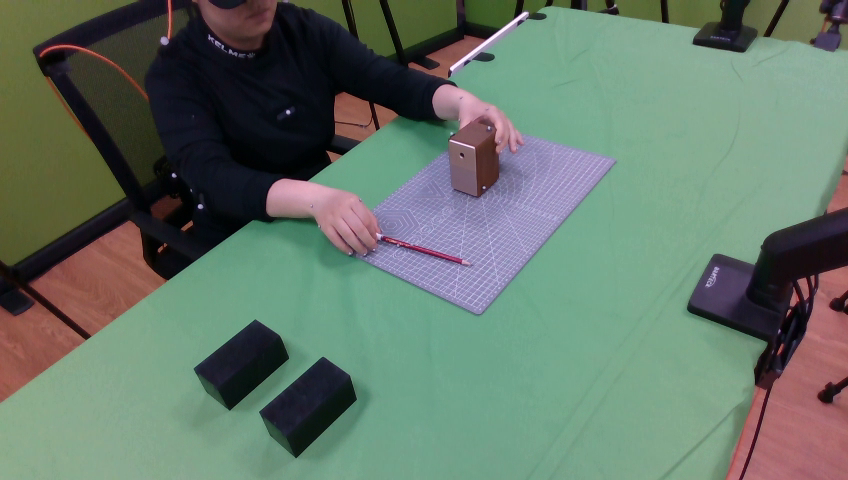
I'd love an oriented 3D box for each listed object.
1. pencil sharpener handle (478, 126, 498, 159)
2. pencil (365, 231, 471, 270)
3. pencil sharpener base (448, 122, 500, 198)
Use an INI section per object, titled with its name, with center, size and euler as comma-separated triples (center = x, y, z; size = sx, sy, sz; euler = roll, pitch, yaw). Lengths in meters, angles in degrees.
[pencil sharpener handle]
center = 0.119, -0.178, 1.074
size = 0.035, 0.068, 0.031
euler = 22, 48, 31
[pencil]
center = -0.011, 0.016, 0.959
size = 0.193, 0.012, 0.012
euler = 19, 47, 24
[pencil sharpener base]
center = 0.090, -0.140, 1.052
size = 0.061, 0.107, 0.077
euler = 22, 47, 31
